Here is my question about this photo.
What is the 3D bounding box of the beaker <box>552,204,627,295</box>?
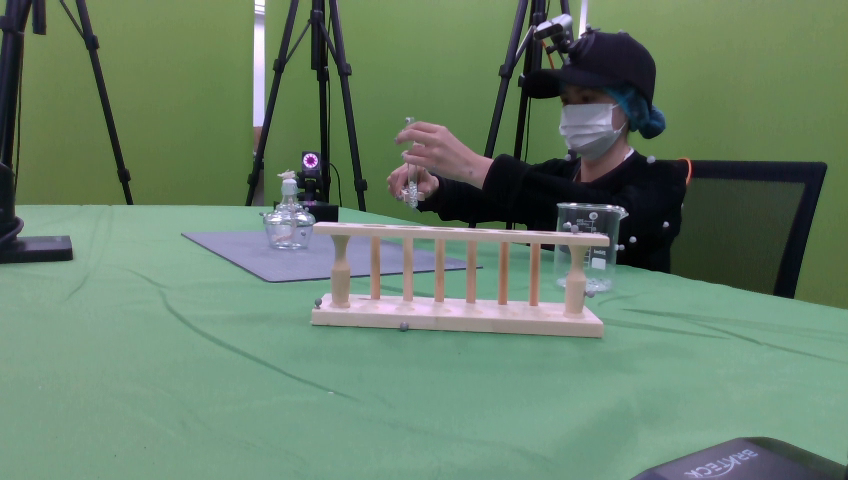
[{"bbox_3d":[0.191,0.010,0.708,0.083,0.100,0.074,8,9,33],"label":"beaker"}]

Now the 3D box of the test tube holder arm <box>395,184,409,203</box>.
[{"bbox_3d":[-0.040,-0.085,1.079,0.013,0.015,0.178,2,11,-10],"label":"test tube holder arm"}]

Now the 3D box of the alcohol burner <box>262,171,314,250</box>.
[{"bbox_3d":[-0.205,-0.045,0.913,0.078,0.119,0.078,1,9,0],"label":"alcohol burner"}]

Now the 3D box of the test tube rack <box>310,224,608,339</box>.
[{"bbox_3d":[0.028,0.032,0.528,0.242,0.085,0.067,3,7,0],"label":"test tube rack"}]

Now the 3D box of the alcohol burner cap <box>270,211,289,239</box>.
[{"bbox_3d":[-0.246,-0.026,1.035,0.034,0.048,0.034,3,8,0],"label":"alcohol burner cap"}]

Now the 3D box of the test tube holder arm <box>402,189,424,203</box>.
[{"bbox_3d":[-0.023,-0.077,1.039,0.010,0.015,0.087,-3,12,-27],"label":"test tube holder arm"}]

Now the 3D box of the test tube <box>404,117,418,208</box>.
[{"bbox_3d":[-0.021,-0.126,0.995,0.017,0.150,0.017,-2,13,1],"label":"test tube"}]
